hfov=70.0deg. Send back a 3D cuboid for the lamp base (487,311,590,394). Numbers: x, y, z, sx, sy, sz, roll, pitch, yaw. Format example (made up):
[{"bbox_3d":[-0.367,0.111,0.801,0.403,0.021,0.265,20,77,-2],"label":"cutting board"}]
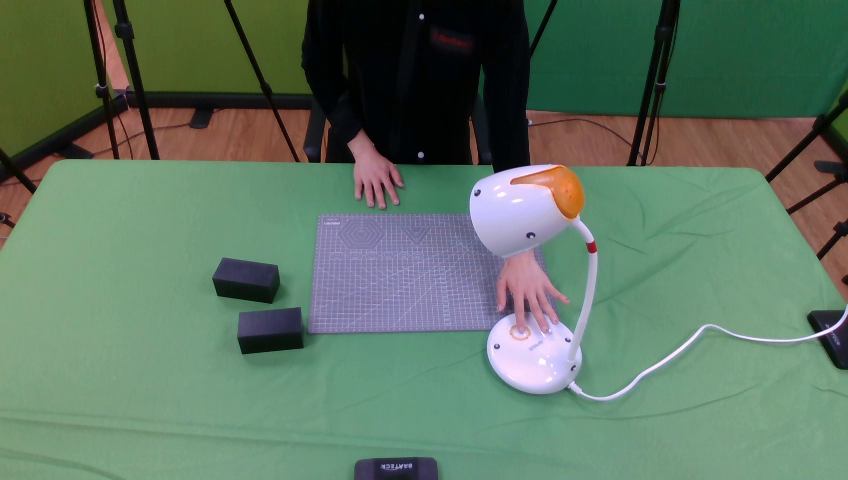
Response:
[{"bbox_3d":[0.199,0.142,0.962,0.178,0.181,0.160,38,56,24],"label":"lamp base"}]

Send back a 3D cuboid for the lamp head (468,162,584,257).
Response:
[{"bbox_3d":[0.136,-0.043,0.747,0.122,0.113,0.112,-15,30,42],"label":"lamp head"}]
